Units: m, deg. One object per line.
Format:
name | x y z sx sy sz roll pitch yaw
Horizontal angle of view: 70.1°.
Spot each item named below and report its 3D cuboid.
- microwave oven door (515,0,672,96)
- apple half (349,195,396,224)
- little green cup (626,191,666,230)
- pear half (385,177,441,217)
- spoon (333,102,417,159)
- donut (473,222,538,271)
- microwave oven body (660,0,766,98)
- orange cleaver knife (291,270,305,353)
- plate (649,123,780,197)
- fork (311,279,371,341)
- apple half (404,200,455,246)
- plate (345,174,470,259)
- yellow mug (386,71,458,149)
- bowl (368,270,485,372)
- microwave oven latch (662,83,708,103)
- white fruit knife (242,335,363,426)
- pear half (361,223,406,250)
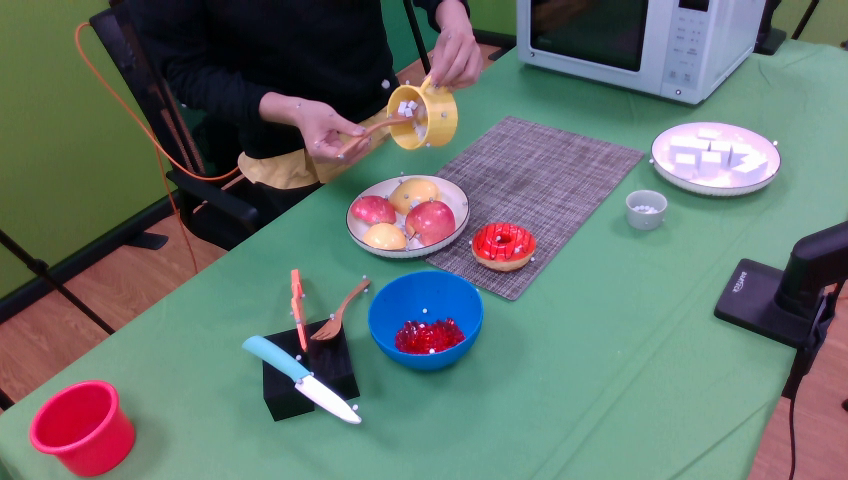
microwave oven door | 0.344 -0.455 1.259 0.353 0.245 0.039 26 51 33
apple half | -0.081 -0.056 1.008 0.081 0.033 0.081 11 24 -5
little green cup | 0.352 -0.046 0.963 0.061 0.039 0.061 -4 40 4
pear half | -0.030 -0.079 1.033 0.109 0.056 0.076 -1 36 16
spoon | -0.073 -0.166 0.902 0.041 0.022 0.194 23 40 26
donut | 0.124 0.009 0.923 0.099 0.048 0.098 -3 37 3
microwave oven body | 0.472 -0.513 1.317 0.438 0.261 0.327 26 51 34
orange cleaver knife | -0.175 0.094 0.844 0.012 0.077 0.210 -11 14 -10
plate | 0.497 -0.134 1.046 0.207 0.039 0.206 -4 40 4
fork | -0.108 0.092 0.832 0.028 0.019 0.207 -6 19 15
apple half | 0.009 -0.035 0.969 0.075 0.053 0.080 -27 40 -23
plate | -0.026 -0.037 1.004 0.209 0.038 0.208 -4 40 4
yellow mug | 0.001 -0.209 0.957 0.064 0.131 0.099 -15 53 -44
bowl | 0.007 0.118 0.791 0.151 0.077 0.150 -5 40 4
microwave oven latch | 0.517 -0.296 1.204 0.078 0.029 0.030 28 52 35
white fruit knife | -0.148 0.167 0.730 0.206 0.016 0.027 26 80 31
pear half | -0.063 -0.012 0.959 0.071 0.031 0.087 3 24 -25
